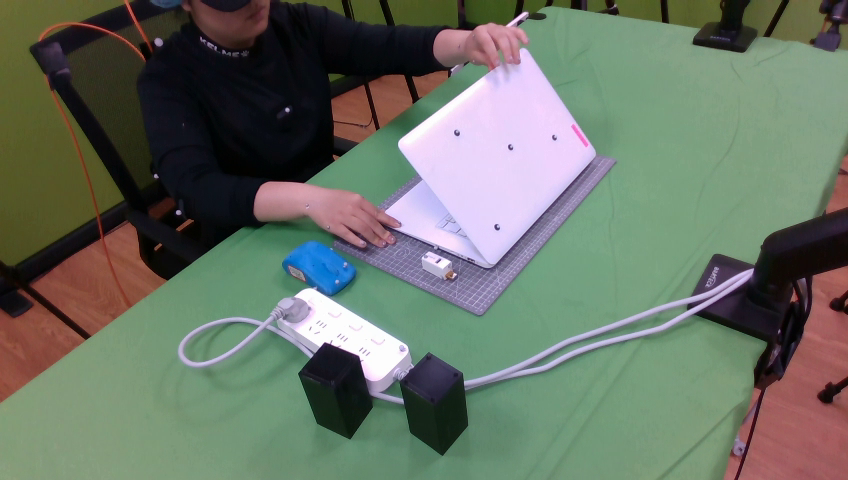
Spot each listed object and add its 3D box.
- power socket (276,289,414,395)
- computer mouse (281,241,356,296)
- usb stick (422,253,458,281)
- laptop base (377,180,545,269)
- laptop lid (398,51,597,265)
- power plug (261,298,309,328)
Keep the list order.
[{"bbox_3d":[-0.115,0.133,0.820,0.225,0.033,0.072,25,49,33],"label":"power socket"},{"bbox_3d":[-0.164,0.041,0.933,0.116,0.041,0.063,27,49,28],"label":"computer mouse"},{"bbox_3d":[0.025,0.043,0.908,0.058,0.027,0.021,26,46,31],"label":"usb stick"},{"bbox_3d":[0.115,-0.088,1.058,0.233,0.023,0.355,20,47,33],"label":"laptop base"},{"bbox_3d":[0.137,-0.148,0.977,0.358,0.242,0.013,-41,8,-35],"label":"laptop lid"},{"bbox_3d":[-0.192,0.107,0.831,0.073,0.053,0.035,-32,43,-25],"label":"power plug"}]
